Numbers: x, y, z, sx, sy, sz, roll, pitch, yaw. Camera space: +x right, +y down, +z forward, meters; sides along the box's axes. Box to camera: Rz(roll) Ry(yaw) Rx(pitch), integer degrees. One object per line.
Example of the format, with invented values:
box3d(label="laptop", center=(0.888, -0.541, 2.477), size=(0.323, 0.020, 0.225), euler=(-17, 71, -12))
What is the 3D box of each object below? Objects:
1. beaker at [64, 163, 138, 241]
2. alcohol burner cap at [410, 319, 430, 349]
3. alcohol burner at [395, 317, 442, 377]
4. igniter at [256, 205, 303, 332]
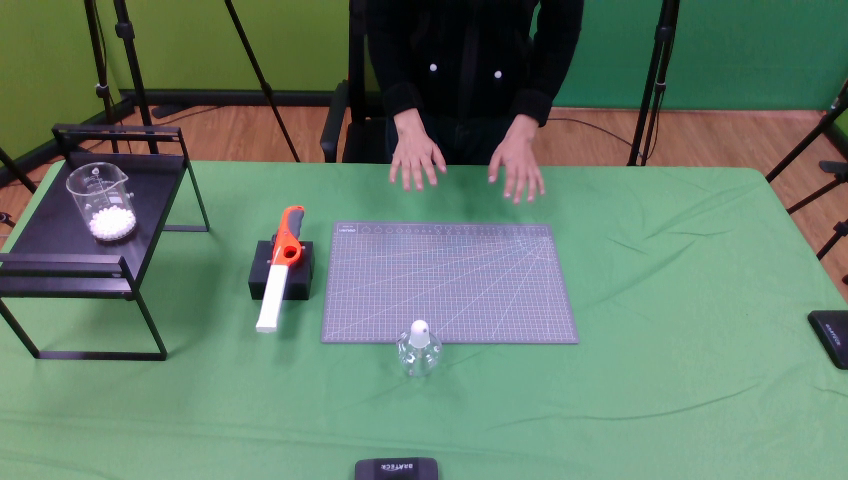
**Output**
box3d(label="beaker", center=(-0.477, -0.055, 0.910), size=(0.084, 0.101, 0.073), euler=(-9, 48, -13))
box3d(label="alcohol burner cap", center=(-0.007, 0.144, 0.950), size=(0.034, 0.048, 0.033), euler=(0, 47, 0))
box3d(label="alcohol burner", center=(-0.009, 0.166, 0.972), size=(0.078, 0.120, 0.077), euler=(0, 45, 0))
box3d(label="igniter", center=(-0.253, 0.040, 1.070), size=(0.057, 0.025, 0.275), euler=(3, 50, -2))
